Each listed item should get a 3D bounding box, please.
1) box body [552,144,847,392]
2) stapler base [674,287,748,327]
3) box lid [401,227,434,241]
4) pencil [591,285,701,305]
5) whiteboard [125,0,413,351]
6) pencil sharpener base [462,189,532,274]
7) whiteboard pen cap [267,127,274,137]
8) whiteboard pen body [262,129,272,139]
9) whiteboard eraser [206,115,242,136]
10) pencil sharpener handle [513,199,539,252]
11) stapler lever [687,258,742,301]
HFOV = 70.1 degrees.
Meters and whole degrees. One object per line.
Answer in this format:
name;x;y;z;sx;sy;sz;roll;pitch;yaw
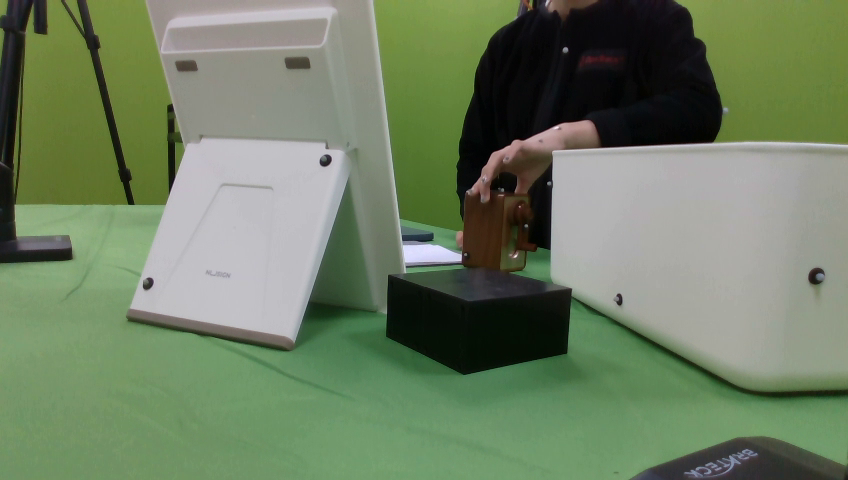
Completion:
box body;0.290;0.002;0.549;0.255;0.160;0.363;2;7;-10
stapler base;0.281;0.061;0.586;0.041;0.024;0.131;11;8;37
box lid;-0.196;-0.015;1.105;0.373;0.015;0.262;-1;7;-32
pencil;0.248;0.058;0.657;0.195;0.012;0.012;-2;9;-35
whiteboard;-0.151;-0.050;0.471;0.216;0.305;0.144;6;27;24
pencil sharpener base;0.100;-0.012;0.815;0.062;0.107;0.076;-3;9;-44
whiteboard pen cap;-0.340;-0.239;1.337;0.018;0.018;0.033;1;-1;-15
whiteboard pen body;-0.361;-0.245;1.393;0.017;0.017;0.140;0;5;-20
whiteboard eraser;-0.438;-0.249;1.320;0.056;0.042;0.112;-3;9;-30
pencil sharpener handle;0.135;-0.018;0.778;0.036;0.067;0.030;-1;8;-44
stapler lever;0.283;0.035;0.585;0.026;0.040;0.119;11;8;37
